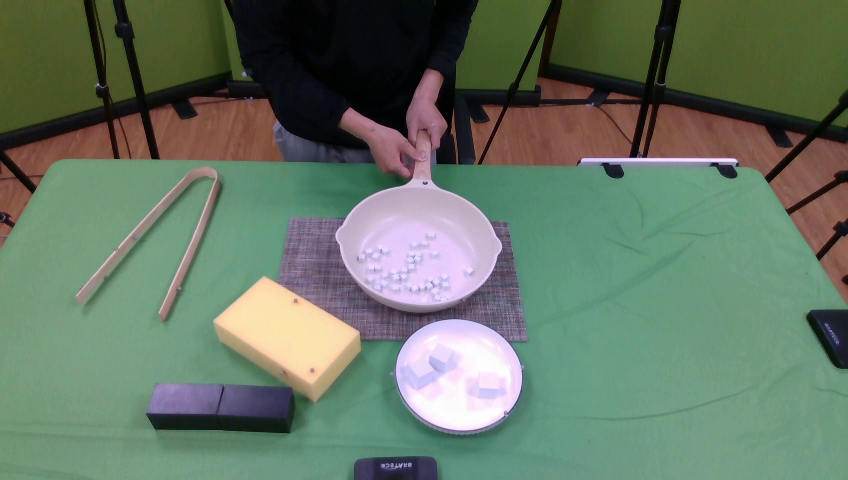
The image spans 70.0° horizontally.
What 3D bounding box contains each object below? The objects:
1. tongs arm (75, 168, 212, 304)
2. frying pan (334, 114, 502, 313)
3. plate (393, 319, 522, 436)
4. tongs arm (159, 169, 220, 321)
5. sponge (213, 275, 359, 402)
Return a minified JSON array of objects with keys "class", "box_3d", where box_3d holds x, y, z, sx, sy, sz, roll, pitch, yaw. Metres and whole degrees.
[{"class":"tongs arm","box_3d":[-0.526,-0.021,1.167,0.051,0.026,0.383,13,45,7]},{"class":"frying pan","box_3d":[-0.008,-0.068,1.186,0.307,0.103,0.485,5,57,-3]},{"class":"plate","box_3d":[0.053,0.222,0.978,0.208,0.039,0.206,2,46,-2]},{"class":"tongs arm","box_3d":[-0.446,-0.005,1.165,0.028,0.028,0.385,1,46,0]},{"class":"sponge","box_3d":[-0.225,0.158,0.998,0.206,0.061,0.118,27,52,18]}]
